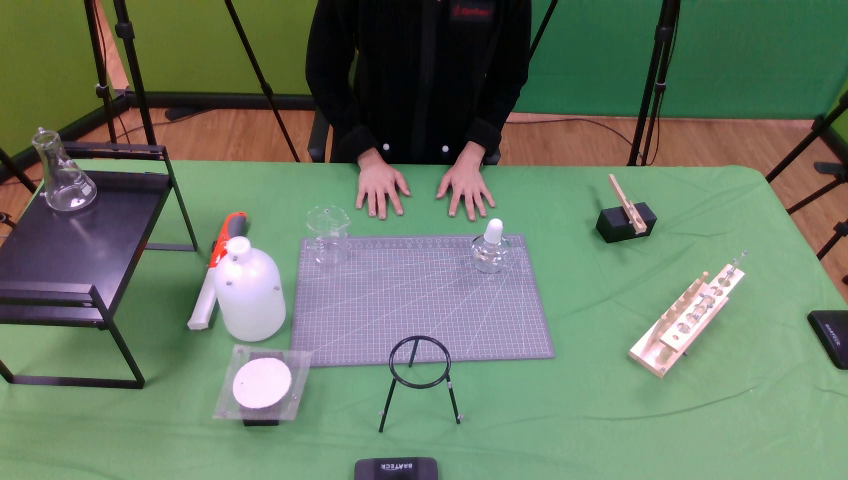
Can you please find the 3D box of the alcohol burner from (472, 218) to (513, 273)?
[{"bbox_3d":[0.128,0.005,1.132,0.078,0.120,0.077,0,47,0],"label":"alcohol burner"}]

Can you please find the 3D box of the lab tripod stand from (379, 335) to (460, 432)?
[{"bbox_3d":[-0.011,0.214,0.911,0.148,0.132,0.147,1,45,0],"label":"lab tripod stand"}]

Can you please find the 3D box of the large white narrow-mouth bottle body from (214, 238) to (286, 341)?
[{"bbox_3d":[-0.285,0.073,0.986,0.102,0.195,0.101,2,46,-2],"label":"large white narrow-mouth bottle body"}]

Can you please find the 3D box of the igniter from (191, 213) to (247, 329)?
[{"bbox_3d":[-0.376,0.047,1.121,0.057,0.025,0.275,-4,46,6],"label":"igniter"}]

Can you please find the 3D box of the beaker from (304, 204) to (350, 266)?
[{"bbox_3d":[-0.178,-0.006,1.132,0.084,0.101,0.073,4,46,-1],"label":"beaker"}]

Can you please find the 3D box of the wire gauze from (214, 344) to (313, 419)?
[{"bbox_3d":[-0.241,0.213,0.916,0.121,0.011,0.124,5,46,1],"label":"wire gauze"}]

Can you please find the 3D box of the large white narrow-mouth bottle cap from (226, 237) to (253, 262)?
[{"bbox_3d":[-0.281,0.014,0.923,0.038,0.024,0.037,2,46,-2],"label":"large white narrow-mouth bottle cap"}]

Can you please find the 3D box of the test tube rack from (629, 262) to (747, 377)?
[{"bbox_3d":[0.464,0.126,1.061,0.242,0.085,0.066,-34,56,-30],"label":"test tube rack"}]

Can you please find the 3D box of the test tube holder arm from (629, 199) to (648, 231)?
[{"bbox_3d":[0.423,-0.050,1.206,0.010,0.015,0.087,1,41,-12],"label":"test tube holder arm"}]

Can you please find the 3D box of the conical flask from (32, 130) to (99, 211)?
[{"bbox_3d":[-0.565,-0.110,0.944,0.075,0.122,0.075,2,46,-2],"label":"conical flask"}]

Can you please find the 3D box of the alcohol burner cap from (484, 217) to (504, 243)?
[{"bbox_3d":[0.130,-0.021,1.107,0.034,0.048,0.033,6,46,-6],"label":"alcohol burner cap"}]

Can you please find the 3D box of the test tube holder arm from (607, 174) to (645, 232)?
[{"bbox_3d":[0.411,-0.080,1.238,0.013,0.015,0.177,1,42,-13],"label":"test tube holder arm"}]

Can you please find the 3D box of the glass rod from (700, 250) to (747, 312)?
[{"bbox_3d":[0.500,0.075,1.021,0.008,0.201,0.008,0,55,1],"label":"glass rod"}]

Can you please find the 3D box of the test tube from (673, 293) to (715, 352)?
[{"bbox_3d":[0.429,0.137,0.979,0.017,0.151,0.017,5,46,-5],"label":"test tube"}]
